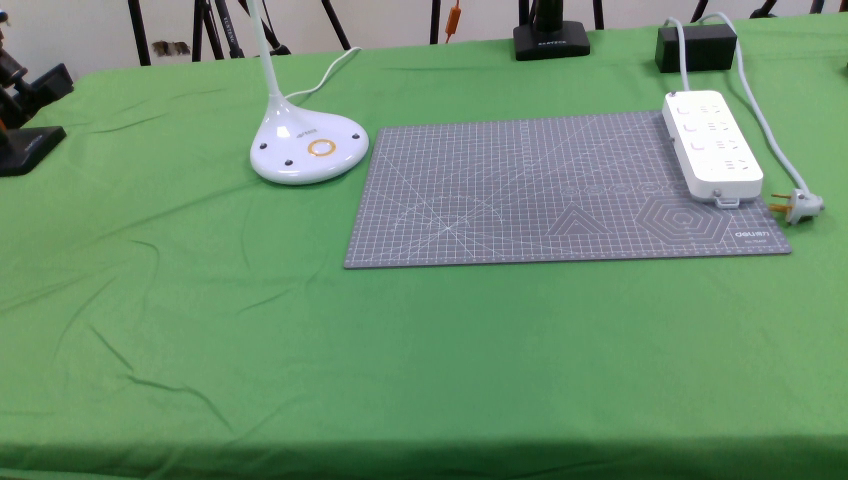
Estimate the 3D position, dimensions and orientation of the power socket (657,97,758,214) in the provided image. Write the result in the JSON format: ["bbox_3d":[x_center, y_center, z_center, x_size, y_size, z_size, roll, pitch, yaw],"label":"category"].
[{"bbox_3d":[0.333,-0.111,0.725,0.072,0.033,0.225,0,39,9],"label":"power socket"}]

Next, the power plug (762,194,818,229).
[{"bbox_3d":[0.380,-0.031,0.638,0.052,0.035,0.072,11,8,15],"label":"power plug"}]

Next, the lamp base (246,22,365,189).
[{"bbox_3d":[-0.177,-0.181,0.781,0.177,0.182,0.160,26,49,37],"label":"lamp base"}]
